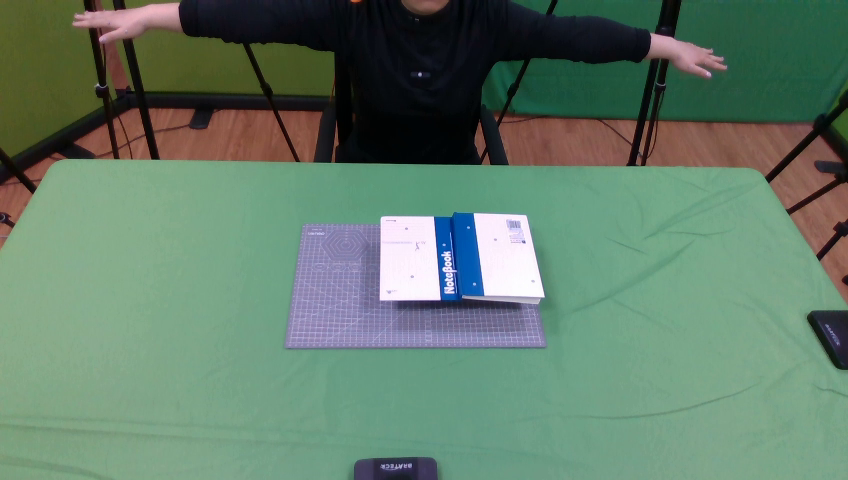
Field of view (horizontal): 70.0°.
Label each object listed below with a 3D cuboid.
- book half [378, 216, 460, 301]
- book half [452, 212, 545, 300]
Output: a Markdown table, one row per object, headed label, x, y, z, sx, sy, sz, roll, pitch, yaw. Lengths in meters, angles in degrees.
| label | x | y | z | sx | sy | sz | roll | pitch | yaw |
| --- | --- | --- | --- | --- | --- | --- | --- | --- | --- |
| book half | -0.011 | 0.029 | 1.110 | 0.143 | 0.007 | 0.208 | 0 | 46 | -4 |
| book half | 0.132 | 0.026 | 1.116 | 0.149 | 0.016 | 0.209 | 2 | 45 | -5 |
